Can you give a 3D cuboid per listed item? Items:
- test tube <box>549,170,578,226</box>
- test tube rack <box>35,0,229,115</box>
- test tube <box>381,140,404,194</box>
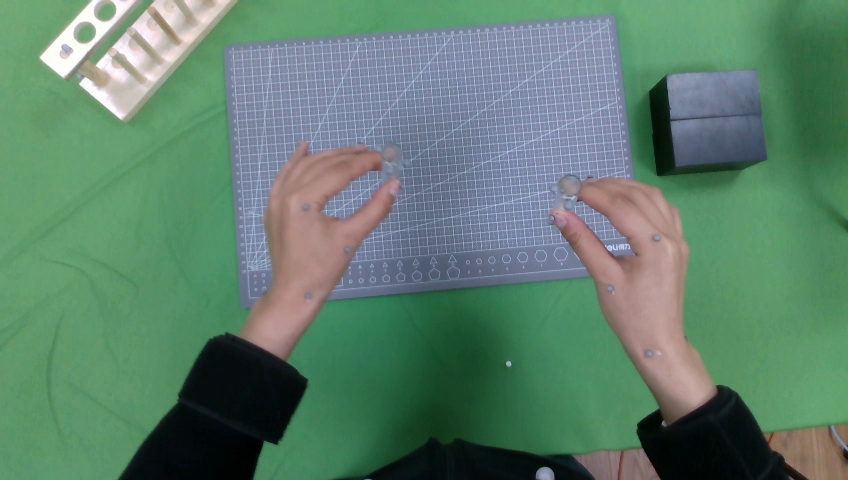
[{"bbox_3d":[0.106,-0.029,0.467,0.017,0.151,0.017,-1,82,10],"label":"test tube"},{"bbox_3d":[-0.283,-0.256,0.647,0.066,0.085,0.242,40,86,3],"label":"test tube rack"},{"bbox_3d":[-0.027,-0.057,0.499,0.017,0.150,0.017,0,85,-5],"label":"test tube"}]
